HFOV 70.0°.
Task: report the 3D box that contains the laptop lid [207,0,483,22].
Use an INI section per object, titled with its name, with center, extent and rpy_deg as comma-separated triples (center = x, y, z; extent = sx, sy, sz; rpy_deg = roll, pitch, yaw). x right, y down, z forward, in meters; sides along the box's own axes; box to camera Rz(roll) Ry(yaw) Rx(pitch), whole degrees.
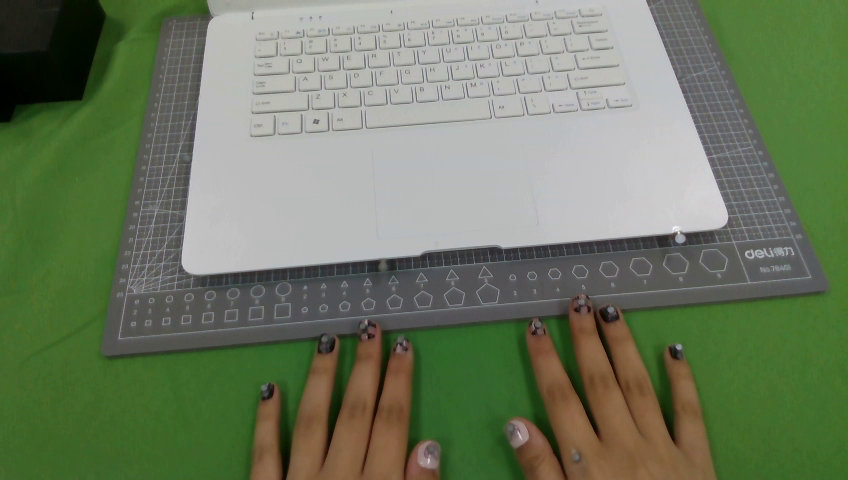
[laptop lid]
center = -0.004, -0.288, 0.442
extent = 0.357, 0.243, 0.013
rpy_deg = -6, 31, -2

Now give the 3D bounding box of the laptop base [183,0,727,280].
[laptop base]
center = 0.013, -0.088, 0.446
extent = 0.354, 0.023, 0.233
rpy_deg = -5, 63, -2
